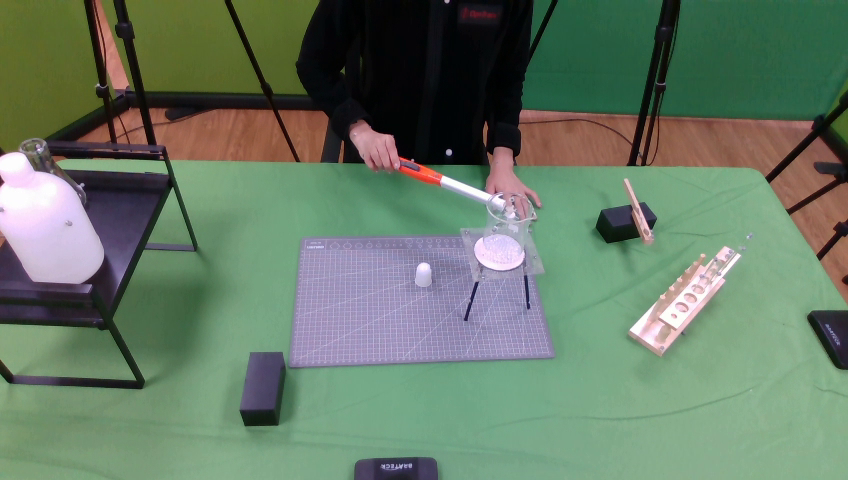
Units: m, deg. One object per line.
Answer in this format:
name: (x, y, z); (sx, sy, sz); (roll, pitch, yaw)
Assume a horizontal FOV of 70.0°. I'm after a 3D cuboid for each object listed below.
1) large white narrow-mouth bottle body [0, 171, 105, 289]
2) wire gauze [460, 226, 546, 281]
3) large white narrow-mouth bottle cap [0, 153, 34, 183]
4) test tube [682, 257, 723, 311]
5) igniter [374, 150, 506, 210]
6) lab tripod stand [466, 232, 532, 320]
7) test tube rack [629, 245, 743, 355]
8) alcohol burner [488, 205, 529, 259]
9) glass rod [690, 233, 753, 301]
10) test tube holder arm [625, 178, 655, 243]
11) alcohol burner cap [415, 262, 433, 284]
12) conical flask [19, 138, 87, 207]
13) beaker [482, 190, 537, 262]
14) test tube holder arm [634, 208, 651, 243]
large white narrow-mouth bottle body: (-0.513, -0.029, 0.818); (0.102, 0.195, 0.101); (2, 46, -2)
wire gauze: (0.130, 0.017, 1.016); (0.121, 0.011, 0.124); (-4, 43, -9)
large white narrow-mouth bottle cap: (-0.510, -0.090, 0.754); (0.038, 0.024, 0.037); (2, 46, -2)
test tube: (0.475, 0.080, 1.037); (0.017, 0.151, 0.017); (1, 51, -1)
igniter: (0.025, -0.116, 1.149); (0.276, 0.057, 0.025); (22, 78, 14)
lab tripod stand: (0.125, 0.059, 1.065); (0.148, 0.132, 0.147); (1, 45, 0)
test tube rack: (0.474, 0.095, 1.091); (0.242, 0.085, 0.066); (-34, 56, -31)
alcohol burner: (0.163, -0.020, 1.158); (0.078, 0.120, 0.077); (0, 47, 0)
glass rod: (0.507, 0.053, 1.041); (0.008, 0.200, 0.008); (5, 51, -6)
test tube holder arm: (0.433, -0.062, 1.220); (0.013, 0.015, 0.177); (1, 47, -3)
alcohol burner cap: (0.001, 0.058, 1.122); (0.034, 0.048, 0.033); (1, 63, -2)
conical flask: (-0.576, -0.097, 0.930); (0.075, 0.122, 0.075); (2, 46, -2)
beaker: (0.136, -0.019, 0.983); (0.084, 0.101, 0.073); (17, 47, 14)
test tube holder arm: (0.428, -0.030, 1.189); (0.010, 0.015, 0.087); (1, 47, -2)
